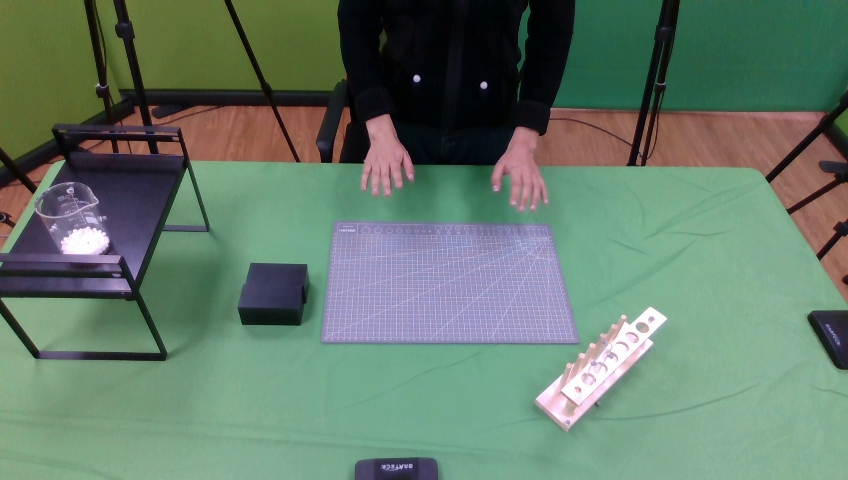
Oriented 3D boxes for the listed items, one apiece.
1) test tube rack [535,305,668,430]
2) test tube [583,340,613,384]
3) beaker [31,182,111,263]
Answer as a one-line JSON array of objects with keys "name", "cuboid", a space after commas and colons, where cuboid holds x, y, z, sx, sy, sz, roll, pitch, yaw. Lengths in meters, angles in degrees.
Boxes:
[{"name": "test tube rack", "cuboid": [0.290, 0.193, 0.984, 0.242, 0.085, 0.066, -32, 56, -30]}, {"name": "test tube", "cuboid": [0.252, 0.200, 0.907, 0.017, 0.151, 0.017, 5, 44, -4]}, {"name": "beaker", "cuboid": [-0.502, -0.022, 0.877, 0.084, 0.101, 0.073, -2, 47, -7]}]
